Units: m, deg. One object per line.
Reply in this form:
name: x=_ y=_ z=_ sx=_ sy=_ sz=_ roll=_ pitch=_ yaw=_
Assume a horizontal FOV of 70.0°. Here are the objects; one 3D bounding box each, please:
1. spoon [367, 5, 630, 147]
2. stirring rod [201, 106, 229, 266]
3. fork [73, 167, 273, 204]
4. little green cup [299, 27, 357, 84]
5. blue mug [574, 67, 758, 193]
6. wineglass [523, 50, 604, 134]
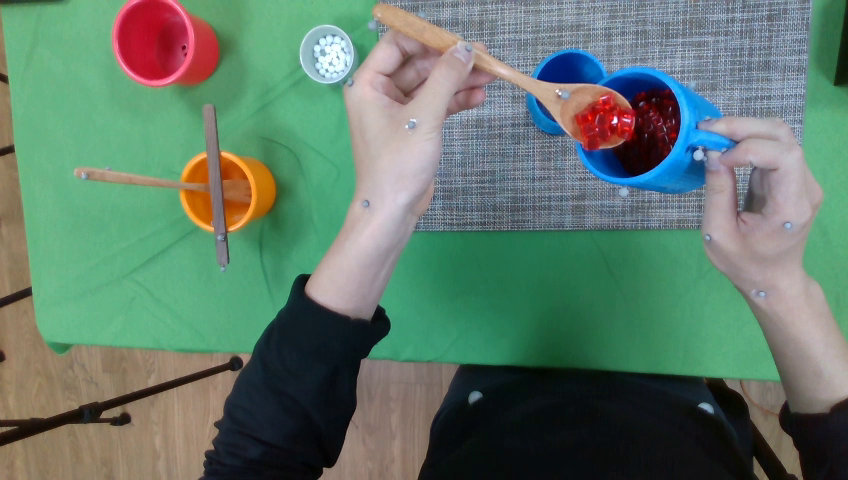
spoon: x=0.054 y=-0.111 z=0.402 sx=0.195 sy=0.021 sz=0.042 roll=20 pitch=112 yaw=-19
stirring rod: x=-0.229 y=-0.058 z=0.665 sx=0.014 sy=0.006 sz=0.176 roll=-1 pitch=100 yaw=10
fork: x=-0.271 y=-0.061 z=0.674 sx=0.209 sy=0.018 sz=0.028 roll=4 pitch=110 yaw=-36
little green cup: x=-0.106 y=-0.204 z=0.681 sx=0.061 sy=0.038 sz=0.062 roll=2 pitch=100 yaw=9
blue mug: x=0.187 y=-0.075 z=0.455 sx=0.115 sy=0.106 sz=0.082 roll=20 pitch=103 yaw=37
wineglass: x=0.132 y=-0.137 z=0.583 sx=0.073 sy=0.172 sz=0.074 roll=1 pitch=99 yaw=9
